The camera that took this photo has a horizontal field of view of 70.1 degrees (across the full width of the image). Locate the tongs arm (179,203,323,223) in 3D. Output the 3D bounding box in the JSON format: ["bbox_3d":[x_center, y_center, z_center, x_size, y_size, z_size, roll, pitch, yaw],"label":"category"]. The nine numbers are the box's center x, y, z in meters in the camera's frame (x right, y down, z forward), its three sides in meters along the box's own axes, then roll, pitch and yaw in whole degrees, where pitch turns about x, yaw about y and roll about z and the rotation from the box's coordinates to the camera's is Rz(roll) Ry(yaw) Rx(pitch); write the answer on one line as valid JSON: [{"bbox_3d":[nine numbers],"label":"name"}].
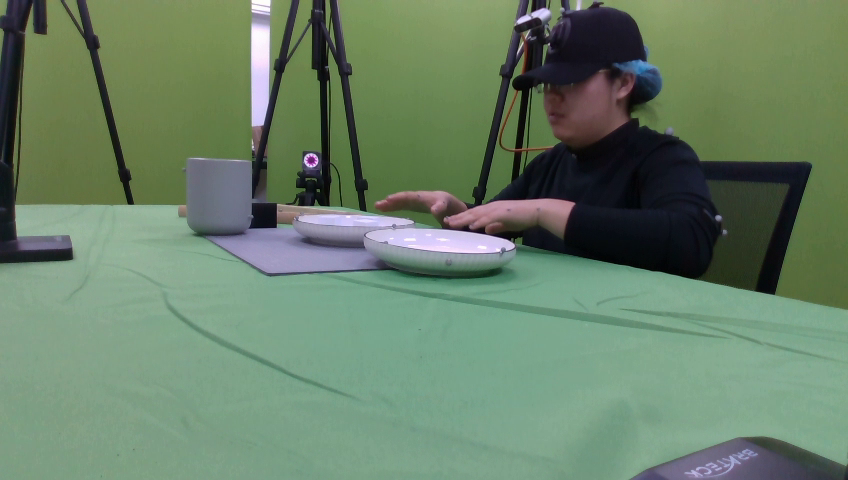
[{"bbox_3d":[-0.330,-0.053,1.270,0.387,0.028,0.028,4,4,6],"label":"tongs arm"}]

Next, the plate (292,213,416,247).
[{"bbox_3d":[-0.118,-0.017,1.024,0.208,0.039,0.207,2,7,0],"label":"plate"}]

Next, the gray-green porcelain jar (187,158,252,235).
[{"bbox_3d":[-0.350,-0.075,1.036,0.106,0.126,0.106,3,8,0],"label":"gray-green porcelain jar"}]

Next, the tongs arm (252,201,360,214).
[{"bbox_3d":[-0.307,-0.064,1.349,0.384,0.026,0.051,7,8,20],"label":"tongs arm"}]

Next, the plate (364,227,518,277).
[{"bbox_3d":[0.022,0.016,0.817,0.209,0.038,0.209,3,9,0],"label":"plate"}]
